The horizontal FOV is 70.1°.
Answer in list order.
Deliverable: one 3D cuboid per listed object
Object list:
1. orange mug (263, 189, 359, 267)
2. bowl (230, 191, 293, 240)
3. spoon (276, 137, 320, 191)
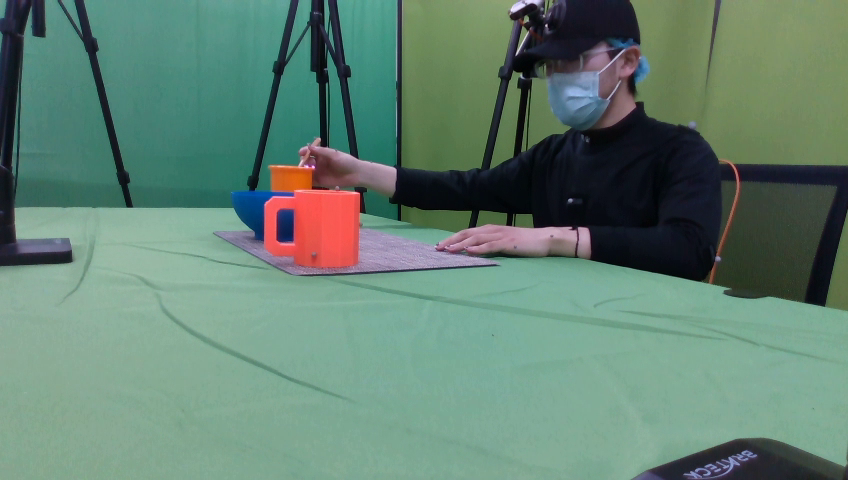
[{"bbox_3d":[-0.147,-0.019,0.795,0.127,0.100,0.083,5,6,-19],"label":"orange mug"},{"bbox_3d":[-0.249,-0.042,1.023,0.151,0.077,0.151,2,7,0],"label":"bowl"},{"bbox_3d":[-0.254,-0.151,1.246,0.041,0.193,0.022,9,-36,17],"label":"spoon"}]
